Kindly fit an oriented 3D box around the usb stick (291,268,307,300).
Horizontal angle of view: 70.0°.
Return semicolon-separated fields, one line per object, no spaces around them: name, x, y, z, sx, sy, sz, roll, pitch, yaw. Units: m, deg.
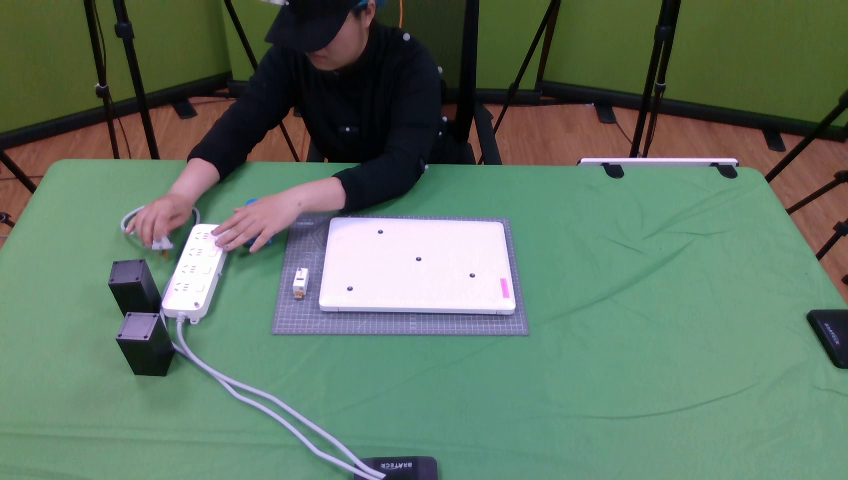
usb stick;-0.227;0.081;1.094;0.021;0.027;0.059;4;48;-2

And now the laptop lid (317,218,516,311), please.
laptop lid;-0.013;0.040;1.143;0.357;0.013;0.240;3;43;-2

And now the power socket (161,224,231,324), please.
power socket;-0.412;0.052;1.106;0.072;0.033;0.225;4;46;-2

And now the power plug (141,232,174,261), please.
power plug;-0.492;0.011;1.124;0.072;0.052;0.035;2;6;45

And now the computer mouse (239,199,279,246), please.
computer mouse;-0.327;-0.039;1.200;0.063;0.041;0.116;4;50;-3

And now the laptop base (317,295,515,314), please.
laptop base;-0.014;0.050;1.150;0.354;0.023;0.234;1;42;-3
